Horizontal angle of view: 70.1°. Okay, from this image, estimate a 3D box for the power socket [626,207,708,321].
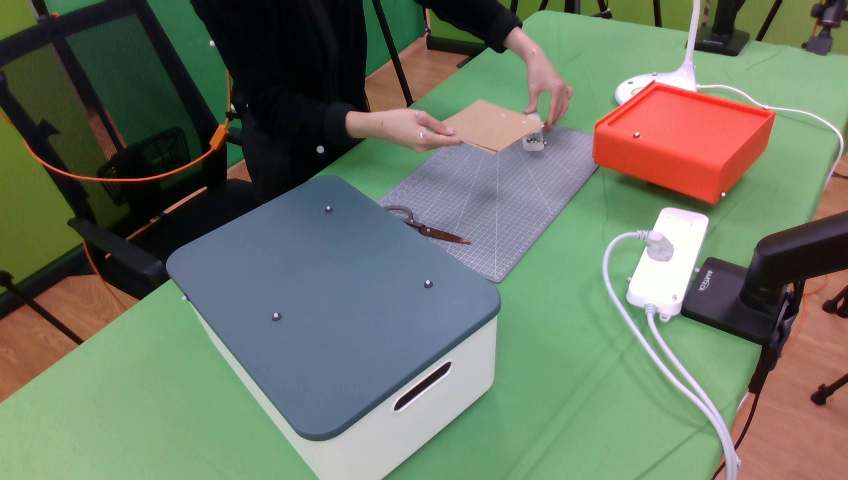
[{"bbox_3d":[0.360,0.026,0.886,0.072,0.033,0.227,16,46,26],"label":"power socket"}]

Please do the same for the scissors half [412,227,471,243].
[{"bbox_3d":[-0.007,-0.010,0.993,0.174,0.013,0.040,8,47,15],"label":"scissors half"}]

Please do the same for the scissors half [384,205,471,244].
[{"bbox_3d":[0.001,-0.024,1.005,0.174,0.013,0.040,23,58,25],"label":"scissors half"}]

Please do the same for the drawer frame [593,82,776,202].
[{"bbox_3d":[0.428,-0.171,1.006,0.211,0.083,0.202,29,51,36],"label":"drawer frame"}]

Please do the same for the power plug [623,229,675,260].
[{"bbox_3d":[0.327,0.007,0.878,0.072,0.053,0.035,25,51,33],"label":"power plug"}]

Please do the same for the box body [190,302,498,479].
[{"bbox_3d":[-0.110,0.103,0.761,0.255,0.161,0.361,-33,46,-27],"label":"box body"}]

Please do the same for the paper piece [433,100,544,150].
[{"bbox_3d":[0.108,-0.192,1.004,0.137,0.009,0.136,27,42,31],"label":"paper piece"}]

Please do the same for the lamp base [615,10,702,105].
[{"bbox_3d":[0.484,-0.364,1.211,0.180,0.181,0.159,-15,41,-14],"label":"lamp base"}]

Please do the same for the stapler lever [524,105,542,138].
[{"bbox_3d":[0.213,-0.242,1.186,0.027,0.040,0.117,1,39,4],"label":"stapler lever"}]

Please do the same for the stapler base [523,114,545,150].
[{"bbox_3d":[0.215,-0.222,1.200,0.041,0.024,0.130,1,39,4],"label":"stapler base"}]

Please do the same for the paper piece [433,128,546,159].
[{"bbox_3d":[0.108,-0.178,1.004,0.136,0.004,0.134,-29,43,-33],"label":"paper piece"}]

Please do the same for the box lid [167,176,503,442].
[{"bbox_3d":[-0.119,0.047,0.714,0.264,0.015,0.368,-32,47,-27],"label":"box lid"}]

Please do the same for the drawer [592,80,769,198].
[{"bbox_3d":[0.422,-0.174,1.007,0.210,0.073,0.195,30,52,35],"label":"drawer"}]
